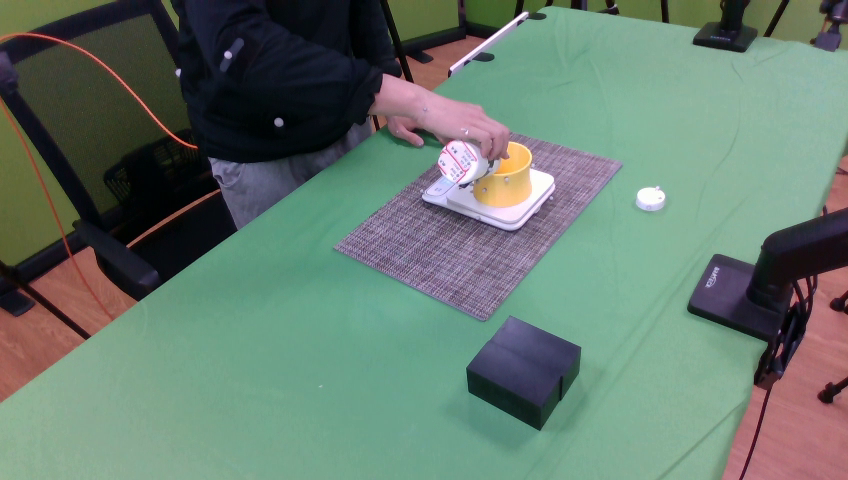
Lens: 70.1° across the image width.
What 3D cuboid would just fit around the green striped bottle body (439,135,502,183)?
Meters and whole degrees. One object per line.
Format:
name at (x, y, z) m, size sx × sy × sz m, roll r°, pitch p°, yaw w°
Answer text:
green striped bottle body at (0.075, -0.123, 0.903) m, size 0.063 × 0.063 × 0.120 m, roll 15°, pitch 20°, yaw 25°

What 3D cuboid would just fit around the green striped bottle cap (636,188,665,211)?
green striped bottle cap at (0.374, -0.067, 0.998) m, size 0.044 × 0.020 × 0.044 m, roll -6°, pitch 39°, yaw 5°

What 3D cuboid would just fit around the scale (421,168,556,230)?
scale at (0.110, -0.089, 1.042) m, size 0.199 × 0.032 × 0.149 m, roll 23°, pitch 48°, yaw 31°

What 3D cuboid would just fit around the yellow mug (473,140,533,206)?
yellow mug at (0.125, -0.121, 1.004) m, size 0.100 × 0.064 × 0.130 m, roll -13°, pitch 41°, yaw -5°
